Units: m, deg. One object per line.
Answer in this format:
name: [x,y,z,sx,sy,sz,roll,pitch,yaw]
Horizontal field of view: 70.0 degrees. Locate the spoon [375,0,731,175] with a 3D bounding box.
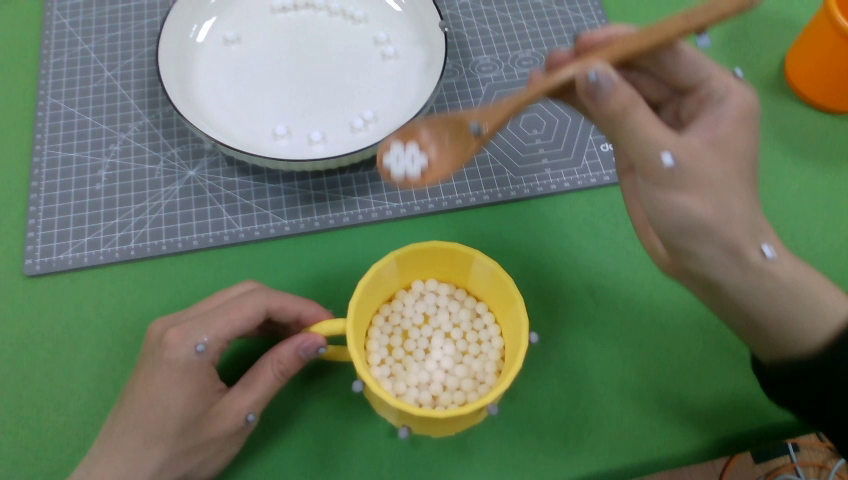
spoon: [0.060,-0.080,0.294,0.193,0.022,0.041,-23,64,24]

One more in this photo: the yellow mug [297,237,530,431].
yellow mug: [-0.008,0.057,0.353,0.131,0.064,0.099,-2,65,-2]

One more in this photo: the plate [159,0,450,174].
plate: [-0.085,-0.134,0.452,0.208,0.039,0.206,1,65,-2]
